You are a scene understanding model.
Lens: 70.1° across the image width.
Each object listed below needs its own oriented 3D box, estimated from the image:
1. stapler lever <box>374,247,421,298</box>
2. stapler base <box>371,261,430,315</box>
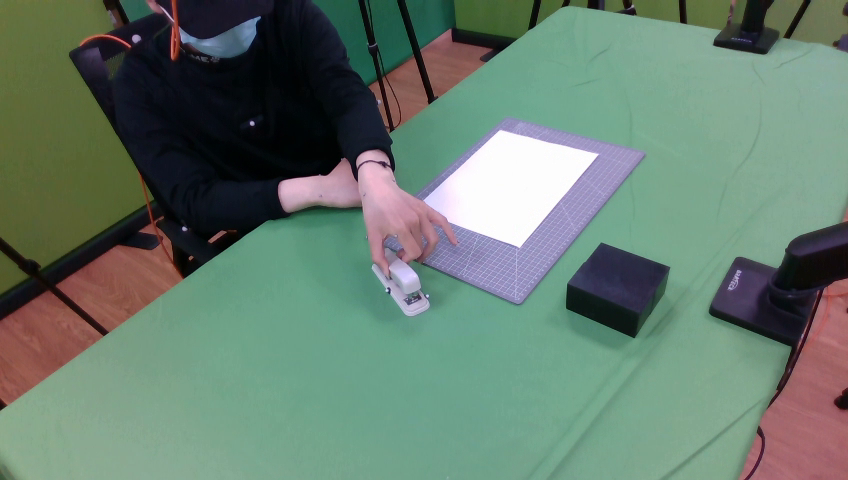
[{"bbox_3d":[-0.040,0.041,0.889,0.027,0.040,0.117,-21,41,-20],"label":"stapler lever"},{"bbox_3d":[-0.037,0.061,0.904,0.041,0.024,0.129,-21,41,-20],"label":"stapler base"}]
